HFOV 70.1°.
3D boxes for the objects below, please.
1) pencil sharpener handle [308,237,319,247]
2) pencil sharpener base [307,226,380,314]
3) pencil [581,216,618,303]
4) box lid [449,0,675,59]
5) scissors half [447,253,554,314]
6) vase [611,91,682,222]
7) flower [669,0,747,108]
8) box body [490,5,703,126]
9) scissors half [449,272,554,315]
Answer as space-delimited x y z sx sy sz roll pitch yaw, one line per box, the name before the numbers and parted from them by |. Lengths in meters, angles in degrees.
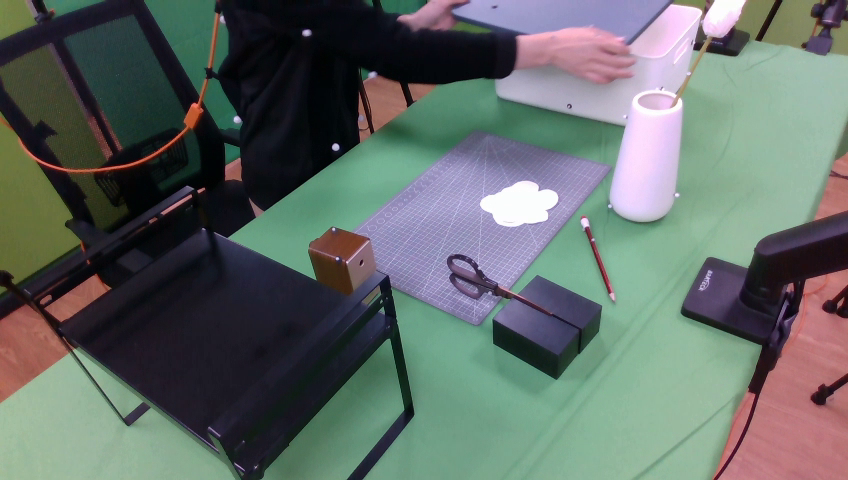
pencil sharpener handle | -0.158 0.017 0.892 0.030 0.068 0.036 18 61 28
pencil sharpener base | -0.116 0.043 0.875 0.076 0.107 0.061 18 47 28
pencil | 0.266 0.025 0.917 0.012 0.012 0.193 -6 41 1
box lid | 0.254 -0.443 1.110 0.368 0.015 0.263 28 63 33
scissors half | 0.101 0.060 0.822 0.174 0.040 0.013 29 50 28
vase | 0.348 -0.125 0.935 0.098 0.201 0.097 -3 40 3
flower | 0.355 -0.187 0.880 0.038 0.362 0.044 30 48 14
box body | 0.352 -0.385 1.268 0.361 0.161 0.255 21 48 29
scissors half | 0.104 0.076 0.834 0.173 0.040 0.013 15 47 42
